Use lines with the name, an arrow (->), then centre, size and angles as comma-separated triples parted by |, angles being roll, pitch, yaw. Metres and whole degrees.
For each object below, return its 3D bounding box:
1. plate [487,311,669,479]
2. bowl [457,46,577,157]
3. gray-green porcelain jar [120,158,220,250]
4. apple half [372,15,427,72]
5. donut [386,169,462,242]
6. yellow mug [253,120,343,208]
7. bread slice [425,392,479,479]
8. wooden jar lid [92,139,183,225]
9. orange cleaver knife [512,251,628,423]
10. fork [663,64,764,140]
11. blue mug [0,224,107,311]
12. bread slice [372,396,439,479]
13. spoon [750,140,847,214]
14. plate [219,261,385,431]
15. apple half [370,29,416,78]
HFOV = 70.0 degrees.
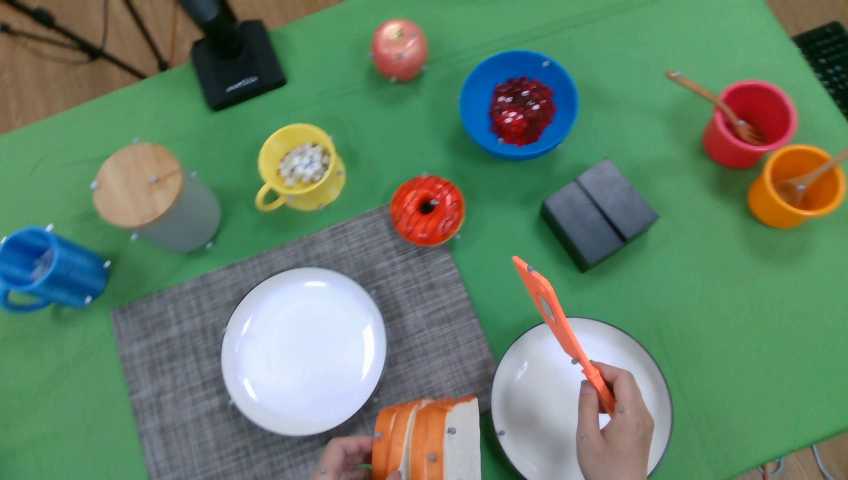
plate -> 0.178, 0.190, 0.715 | 0.209, 0.038, 0.208 | -1, 74, 5
bowl -> 0.120, -0.170, 0.801 | 0.151, 0.077, 0.150 | -1, 74, 5
gray-green porcelain jar -> -0.332, -0.048, 0.779 | 0.106, 0.127, 0.105 | -1, 73, 5
apple half -> -0.027, -0.279, 0.847 | 0.080, 0.075, 0.053 | 33, 73, 17
donut -> 0.000, -0.045, 0.789 | 0.099, 0.048, 0.098 | -1, 75, 4
yellow mug -> -0.176, -0.090, 0.810 | 0.131, 0.064, 0.099 | -45, 76, -7
bread slice -> 0.030, 0.207, 0.595 | 0.019, 0.132, 0.104 | -5, 78, 19
wooden jar lid -> -0.337, -0.067, 0.719 | 0.108, 0.021, 0.107 | -2, 72, 6
orange cleaver knife -> 0.149, 0.101, 0.624 | 0.012, 0.076, 0.212 | -35, 108, -7
fork -> 0.360, -0.168, 0.745 | 0.209, 0.018, 0.028 | 21, 71, -33
blue mug -> -0.488, 0.046, 0.775 | 0.082, 0.106, 0.116 | 41, 81, 15
bread slice -> -0.013, 0.211, 0.614 | 0.018, 0.135, 0.106 | -10, 71, 23
spoon -> 0.477, -0.095, 0.714 | 0.022, 0.194, 0.041 | -10, 64, -46
plate -> -0.149, 0.130, 0.755 | 0.207, 0.039, 0.206 | -1, 74, 4
apple half -> -0.049, -0.248, 0.839 | 0.081, 0.082, 0.032 | 33, 74, 13
